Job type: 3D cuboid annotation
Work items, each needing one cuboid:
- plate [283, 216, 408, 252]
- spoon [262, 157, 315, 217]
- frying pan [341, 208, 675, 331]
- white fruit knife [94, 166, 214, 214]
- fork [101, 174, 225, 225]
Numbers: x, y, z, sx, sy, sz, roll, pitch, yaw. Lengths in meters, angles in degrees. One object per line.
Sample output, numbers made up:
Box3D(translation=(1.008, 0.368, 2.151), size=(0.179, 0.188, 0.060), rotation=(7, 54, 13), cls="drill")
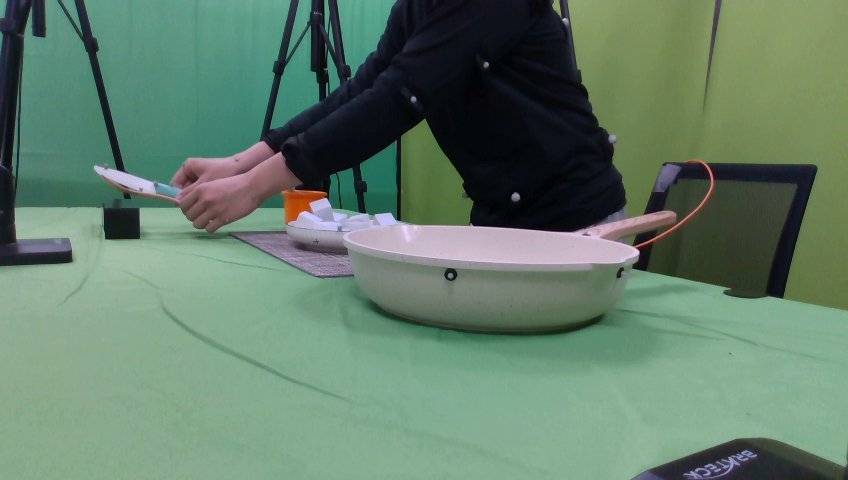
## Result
Box3D(translation=(-0.119, -0.009, 0.968), size=(0.208, 0.039, 0.207), rotation=(3, 7, 0), cls="plate")
Box3D(translation=(-0.276, -0.103, 1.251), size=(0.021, 0.193, 0.042), rotation=(-42, -15, 20), cls="spoon")
Box3D(translation=(0.144, 0.008, 0.677), size=(0.490, 0.102, 0.305), rotation=(-13, 16, -36), cls="frying pan")
Box3D(translation=(-0.471, -0.091, 1.069), size=(0.208, 0.027, 0.016), rotation=(20, -8, -31), cls="white fruit knife")
Box3D(translation=(-0.433, -0.065, 1.017), size=(0.208, 0.018, 0.028), rotation=(20, 10, -31), cls="fork")
